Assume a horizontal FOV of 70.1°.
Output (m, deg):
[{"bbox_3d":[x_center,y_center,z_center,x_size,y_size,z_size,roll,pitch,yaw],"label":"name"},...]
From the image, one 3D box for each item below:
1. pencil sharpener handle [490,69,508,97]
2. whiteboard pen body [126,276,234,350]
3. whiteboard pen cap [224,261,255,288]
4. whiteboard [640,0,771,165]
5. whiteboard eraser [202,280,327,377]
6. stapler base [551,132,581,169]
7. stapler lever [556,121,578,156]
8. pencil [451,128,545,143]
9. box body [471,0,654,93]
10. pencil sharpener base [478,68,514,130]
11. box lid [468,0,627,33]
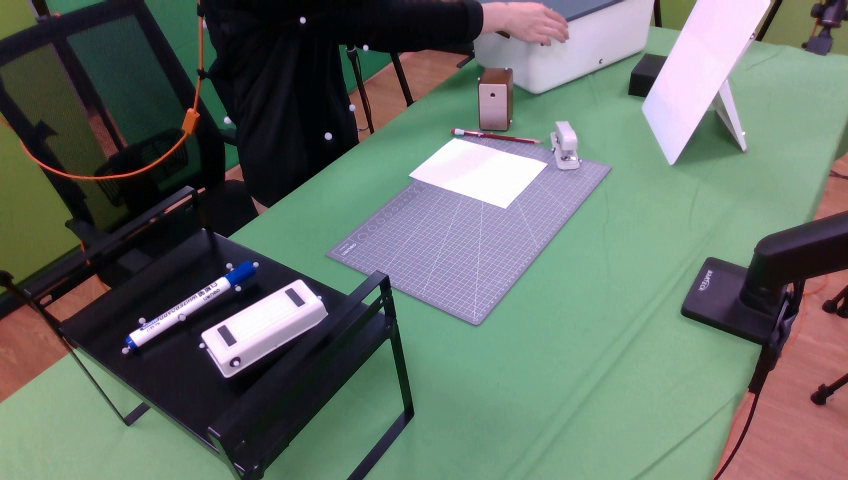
[{"bbox_3d":[0.154,-0.330,1.254,0.036,0.068,0.030,20,43,0],"label":"pencil sharpener handle"},{"bbox_3d":[-0.251,0.070,0.649,0.141,0.017,0.017,-36,48,-26],"label":"whiteboard pen body"},{"bbox_3d":[-0.207,0.039,0.677,0.033,0.018,0.018,-36,47,-18],"label":"whiteboard pen cap"},{"bbox_3d":[0.543,-0.299,1.076,0.144,0.305,0.216,12,40,-7],"label":"whiteboard"},{"bbox_3d":[-0.156,0.088,0.600,0.113,0.042,0.055,-30,47,-25],"label":"whiteboard eraser"},{"bbox_3d":[0.268,-0.178,1.142,0.041,0.024,0.130,0,37,3],"label":"stapler base"},{"bbox_3d":[0.266,-0.198,1.128,0.027,0.040,0.117,0,37,3],"label":"stapler lever"},{"bbox_3d":[0.145,-0.207,1.204,0.193,0.012,0.012,11,44,20],"label":"pencil"},{"bbox_3d":[0.319,-0.498,1.405,0.365,0.161,0.252,-26,43,-21],"label":"box body"},{"bbox_3d":[0.148,-0.286,1.225,0.061,0.107,0.076,5,41,15],"label":"pencil sharpener base"},{"bbox_3d":[0.312,-0.555,1.357,0.373,0.015,0.261,-27,44,-20],"label":"box lid"}]
